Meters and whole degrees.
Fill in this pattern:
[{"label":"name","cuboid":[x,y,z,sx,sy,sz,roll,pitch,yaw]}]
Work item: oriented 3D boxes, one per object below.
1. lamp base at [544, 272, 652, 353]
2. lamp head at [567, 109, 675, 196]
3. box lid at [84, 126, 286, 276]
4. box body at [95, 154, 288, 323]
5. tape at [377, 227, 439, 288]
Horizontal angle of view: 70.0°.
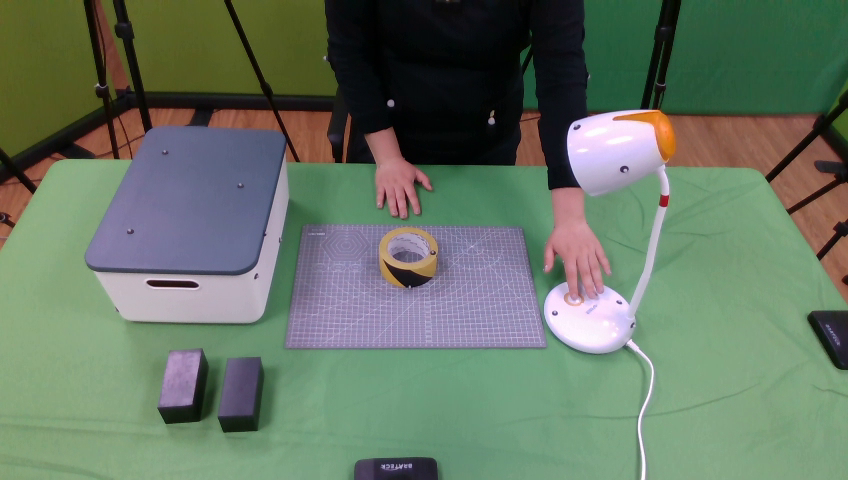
[{"label":"lamp base","cuboid":[0.310,0.086,1.029,0.178,0.181,0.160,32,52,21]},{"label":"lamp head","cuboid":[0.272,-0.123,0.818,0.122,0.113,0.112,-9,35,37]},{"label":"box lid","cuboid":[-0.393,-0.081,1.046,0.263,0.015,0.369,2,46,-3]},{"label":"box body","cuboid":[-0.396,-0.031,1.100,0.254,0.161,0.361,1,46,-3]},{"label":"tape","cuboid":[-0.031,0.032,1.141,0.117,0.053,0.116,2,46,-2]}]
